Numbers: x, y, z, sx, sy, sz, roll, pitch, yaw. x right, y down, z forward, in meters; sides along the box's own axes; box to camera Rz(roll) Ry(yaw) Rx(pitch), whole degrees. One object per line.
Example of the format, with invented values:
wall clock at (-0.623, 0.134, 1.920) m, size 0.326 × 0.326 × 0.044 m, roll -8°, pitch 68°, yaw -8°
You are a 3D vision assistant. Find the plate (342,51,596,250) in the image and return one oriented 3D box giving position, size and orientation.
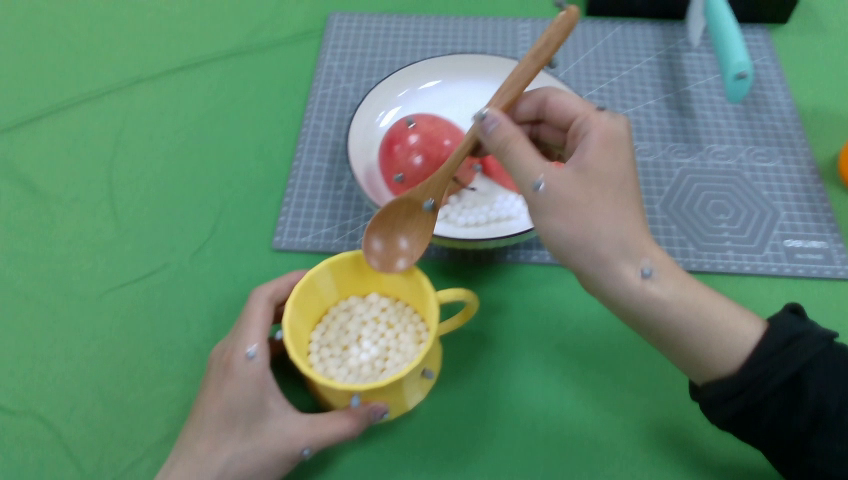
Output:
plate at (0.036, -0.076, 0.509) m, size 0.209 × 0.038 × 0.207 m, roll 0°, pitch 58°, yaw 1°

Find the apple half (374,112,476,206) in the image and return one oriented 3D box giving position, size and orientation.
apple half at (-0.001, -0.072, 0.489) m, size 0.081 × 0.054 × 0.074 m, roll -35°, pitch 60°, yaw -19°

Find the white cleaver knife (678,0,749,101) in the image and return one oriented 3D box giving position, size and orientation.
white cleaver knife at (0.267, -0.230, 0.586) m, size 0.021 × 0.066 × 0.284 m, roll 1°, pitch 53°, yaw 8°

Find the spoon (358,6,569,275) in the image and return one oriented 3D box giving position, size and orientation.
spoon at (0.022, -0.053, 0.361) m, size 0.041 × 0.194 × 0.021 m, roll 41°, pitch 25°, yaw 4°

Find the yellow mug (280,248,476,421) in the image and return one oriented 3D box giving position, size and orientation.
yellow mug at (-0.026, 0.060, 0.411) m, size 0.131 × 0.064 × 0.099 m, roll -16°, pitch 59°, yaw -10°

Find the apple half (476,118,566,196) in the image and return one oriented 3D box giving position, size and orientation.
apple half at (0.081, -0.078, 0.501) m, size 0.081 × 0.033 × 0.080 m, roll 0°, pitch 60°, yaw 1°
